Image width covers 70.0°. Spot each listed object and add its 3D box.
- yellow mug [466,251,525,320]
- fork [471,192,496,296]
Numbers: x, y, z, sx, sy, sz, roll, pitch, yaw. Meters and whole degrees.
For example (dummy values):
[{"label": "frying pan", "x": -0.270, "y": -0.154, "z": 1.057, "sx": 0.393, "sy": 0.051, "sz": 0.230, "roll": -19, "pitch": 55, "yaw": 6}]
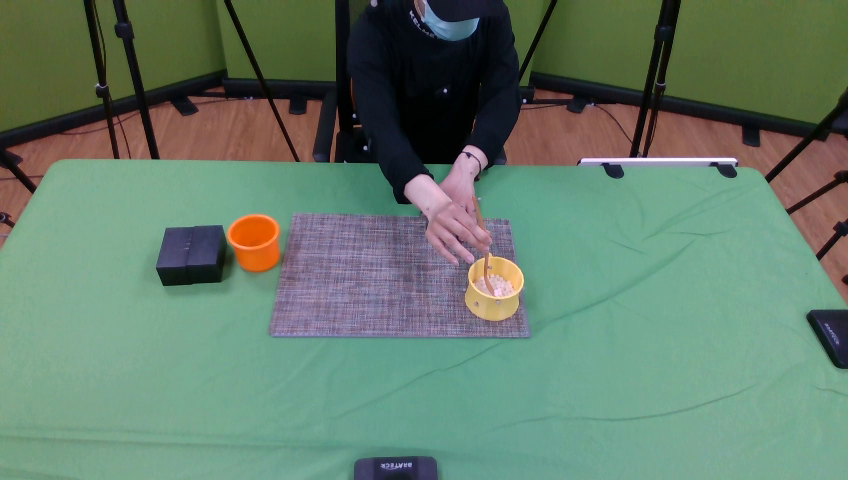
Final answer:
[{"label": "yellow mug", "x": 0.125, "y": 0.074, "z": 1.096, "sx": 0.100, "sy": 0.064, "sz": 0.130, "roll": -4, "pitch": 46, "yaw": -7}, {"label": "fork", "x": 0.104, "y": 0.011, "z": 1.048, "sx": 0.018, "sy": 0.208, "sz": 0.028, "roll": -7, "pitch": 29, "yaw": 8}]
